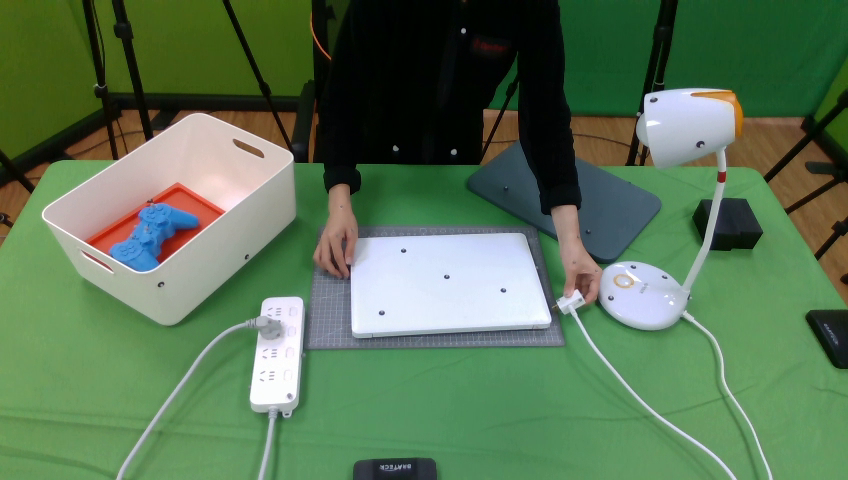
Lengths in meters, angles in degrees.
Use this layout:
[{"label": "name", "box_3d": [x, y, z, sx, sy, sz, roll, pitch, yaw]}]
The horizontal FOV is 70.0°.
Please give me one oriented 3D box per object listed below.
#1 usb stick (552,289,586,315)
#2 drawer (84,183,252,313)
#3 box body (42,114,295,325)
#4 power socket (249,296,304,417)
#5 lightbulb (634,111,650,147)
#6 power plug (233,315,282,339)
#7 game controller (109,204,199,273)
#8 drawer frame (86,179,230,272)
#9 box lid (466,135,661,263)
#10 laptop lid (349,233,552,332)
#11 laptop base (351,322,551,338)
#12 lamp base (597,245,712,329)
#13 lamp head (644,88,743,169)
[{"label": "usb stick", "box_3d": [0.258, 0.114, 1.087, 0.059, 0.021, 0.027, -31, 30, 16]}, {"label": "drawer", "box_3d": [-0.457, 0.008, 1.099, 0.194, 0.073, 0.211, 29, 49, 21]}, {"label": "box body", "box_3d": [-0.437, -0.046, 1.110, 0.253, 0.161, 0.363, 24, 49, 19]}, {"label": "power socket", "box_3d": [-0.239, 0.182, 0.996, 0.072, 0.033, 0.225, -2, 47, -5]}, {"label": "lightbulb", "box_3d": [0.348, -0.163, 0.852, 0.059, 0.060, 0.107, -36, 19, -32]}, {"label": "power plug", "box_3d": [-0.271, 0.144, 1.000, 0.072, 0.053, 0.035, 6, 47, 3]}, {"label": "game controller", "box_3d": [-0.467, -0.005, 1.044, 0.097, 0.052, 0.154, 8, 45, 11]}, {"label": "drawer frame", "box_3d": [-0.453, 0.010, 1.100, 0.201, 0.083, 0.213, 28, 54, 23]}, {"label": "box lid", "box_3d": [0.306, -0.102, 1.327, 0.370, 0.015, 0.263, 32, 52, 25]}, {"label": "laptop lid", "box_3d": [0.040, 0.070, 1.119, 0.357, 0.013, 0.240, -1, 44, -5]}, {"label": "laptop base", "box_3d": [0.040, 0.081, 1.126, 0.355, 0.023, 0.234, -2, 43, -6]}, {"label": "lamp base", "box_3d": [0.418, 0.051, 1.071, 0.179, 0.181, 0.160, 22, 49, 13]}, {"label": "lamp head", "box_3d": [0.380, -0.161, 0.851, 0.122, 0.113, 0.112, -4, 42, 25]}]
